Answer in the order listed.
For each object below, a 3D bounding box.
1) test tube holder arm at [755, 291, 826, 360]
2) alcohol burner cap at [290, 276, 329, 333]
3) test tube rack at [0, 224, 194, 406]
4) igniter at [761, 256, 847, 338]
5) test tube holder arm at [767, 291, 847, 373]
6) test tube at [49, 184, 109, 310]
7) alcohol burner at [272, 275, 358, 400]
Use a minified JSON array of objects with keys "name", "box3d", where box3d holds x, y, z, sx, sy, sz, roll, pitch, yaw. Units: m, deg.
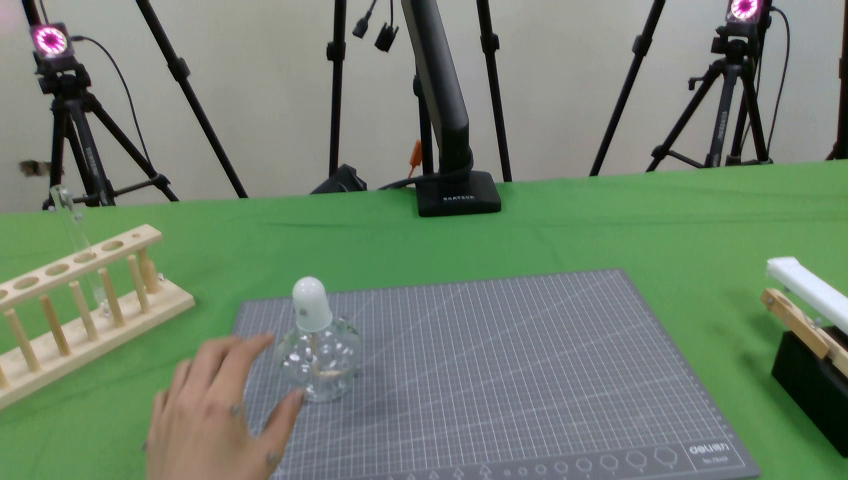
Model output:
[{"name":"test tube holder arm","box3d":[0.329,0.075,0.542,0.010,0.015,0.087,-7,30,-8]},{"name":"alcohol burner cap","box3d":[-0.102,0.054,0.528,0.034,0.048,0.033,-2,35,2]},{"name":"test tube rack","box3d":[-0.368,0.076,0.612,0.066,0.086,0.242,22,38,35]},{"name":"igniter","box3d":[0.382,0.086,0.512,0.057,0.025,0.274,-5,27,-5]},{"name":"test tube holder arm","box3d":[0.344,0.095,0.505,0.013,0.015,0.176,-8,30,-10]},{"name":"test tube","box3d":[-0.351,0.012,0.622,0.017,0.151,0.017,-1,33,1]},{"name":"alcohol burner","box3d":[-0.100,0.084,0.547,0.078,0.120,0.077,-1,29,1]}]
